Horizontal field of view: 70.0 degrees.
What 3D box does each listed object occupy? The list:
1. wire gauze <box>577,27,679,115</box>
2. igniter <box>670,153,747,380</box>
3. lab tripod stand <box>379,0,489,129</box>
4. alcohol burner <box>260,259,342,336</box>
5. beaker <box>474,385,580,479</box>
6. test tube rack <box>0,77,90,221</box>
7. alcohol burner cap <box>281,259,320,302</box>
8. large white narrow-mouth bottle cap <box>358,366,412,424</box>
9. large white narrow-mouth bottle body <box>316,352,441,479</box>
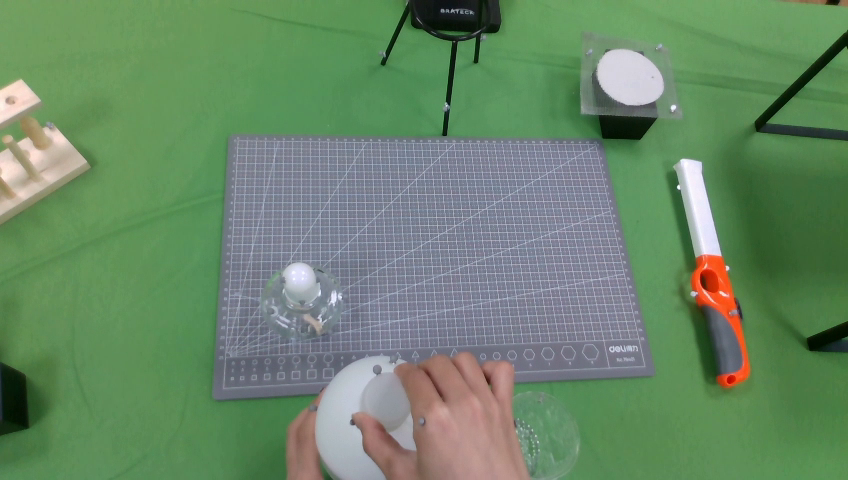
[{"bbox_3d":[0.247,-0.206,0.743,0.122,0.011,0.124,6,65,-6],"label":"wire gauze"},{"bbox_3d":[0.324,0.023,0.696,0.057,0.025,0.274,6,66,-17],"label":"igniter"},{"bbox_3d":[0.020,-0.226,0.703,0.149,0.132,0.147,4,66,-8],"label":"lab tripod stand"},{"bbox_3d":[-0.115,0.048,0.569,0.078,0.120,0.077,4,64,-8],"label":"alcohol burner"},{"bbox_3d":[0.086,0.179,0.552,0.084,0.101,0.073,5,65,-5],"label":"beaker"},{"bbox_3d":[-0.462,-0.047,0.577,0.066,0.085,0.242,44,67,12],"label":"test tube rack"},{"bbox_3d":[-0.111,0.034,0.536,0.034,0.048,0.033,2,71,-4],"label":"alcohol burner cap"},{"bbox_3d":[-0.027,0.104,0.409,0.038,0.024,0.037,3,65,-6],"label":"large white narrow-mouth bottle cap"},{"bbox_3d":[-0.038,0.146,0.496,0.102,0.196,0.101,3,65,-6],"label":"large white narrow-mouth bottle body"}]
